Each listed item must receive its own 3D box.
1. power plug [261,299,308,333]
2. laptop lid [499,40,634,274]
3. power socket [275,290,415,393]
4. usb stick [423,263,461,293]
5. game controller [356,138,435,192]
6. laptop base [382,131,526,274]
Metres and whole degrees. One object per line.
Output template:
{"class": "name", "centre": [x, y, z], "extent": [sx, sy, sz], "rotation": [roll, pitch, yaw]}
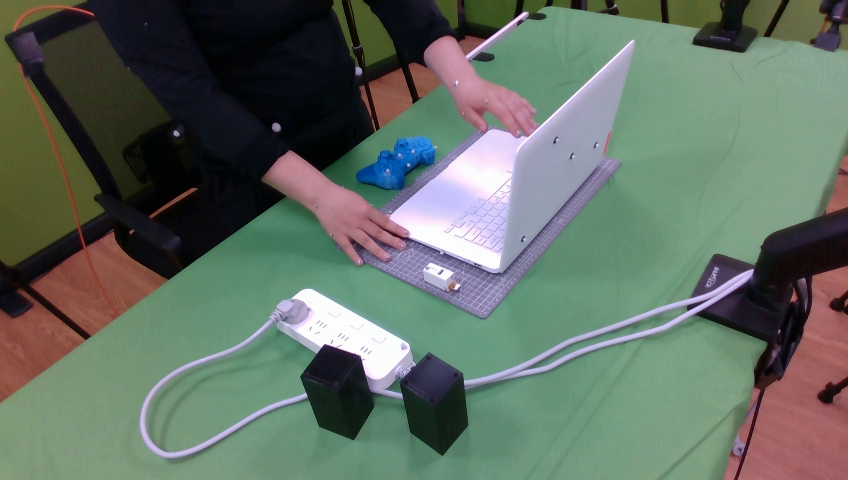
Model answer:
{"class": "power plug", "centre": [-0.193, 0.110, 0.830], "extent": [0.073, 0.053, 0.035], "rotation": [-36, 48, -23]}
{"class": "laptop lid", "centre": [0.218, -0.127, 0.905], "extent": [0.013, 0.242, 0.358], "rotation": [28, 50, 25]}
{"class": "power socket", "centre": [-0.114, 0.132, 0.821], "extent": [0.225, 0.033, 0.072], "rotation": [24, 48, 32]}
{"class": "usb stick", "centre": [0.028, 0.058, 0.888], "extent": [0.059, 0.027, 0.021], "rotation": [25, 50, 30]}
{"class": "game controller", "centre": [-0.049, -0.149, 1.136], "extent": [0.096, 0.052, 0.155], "rotation": [27, 51, 28]}
{"class": "laptop base", "centre": [0.123, -0.081, 1.049], "extent": [0.233, 0.023, 0.355], "rotation": [19, 47, 33]}
